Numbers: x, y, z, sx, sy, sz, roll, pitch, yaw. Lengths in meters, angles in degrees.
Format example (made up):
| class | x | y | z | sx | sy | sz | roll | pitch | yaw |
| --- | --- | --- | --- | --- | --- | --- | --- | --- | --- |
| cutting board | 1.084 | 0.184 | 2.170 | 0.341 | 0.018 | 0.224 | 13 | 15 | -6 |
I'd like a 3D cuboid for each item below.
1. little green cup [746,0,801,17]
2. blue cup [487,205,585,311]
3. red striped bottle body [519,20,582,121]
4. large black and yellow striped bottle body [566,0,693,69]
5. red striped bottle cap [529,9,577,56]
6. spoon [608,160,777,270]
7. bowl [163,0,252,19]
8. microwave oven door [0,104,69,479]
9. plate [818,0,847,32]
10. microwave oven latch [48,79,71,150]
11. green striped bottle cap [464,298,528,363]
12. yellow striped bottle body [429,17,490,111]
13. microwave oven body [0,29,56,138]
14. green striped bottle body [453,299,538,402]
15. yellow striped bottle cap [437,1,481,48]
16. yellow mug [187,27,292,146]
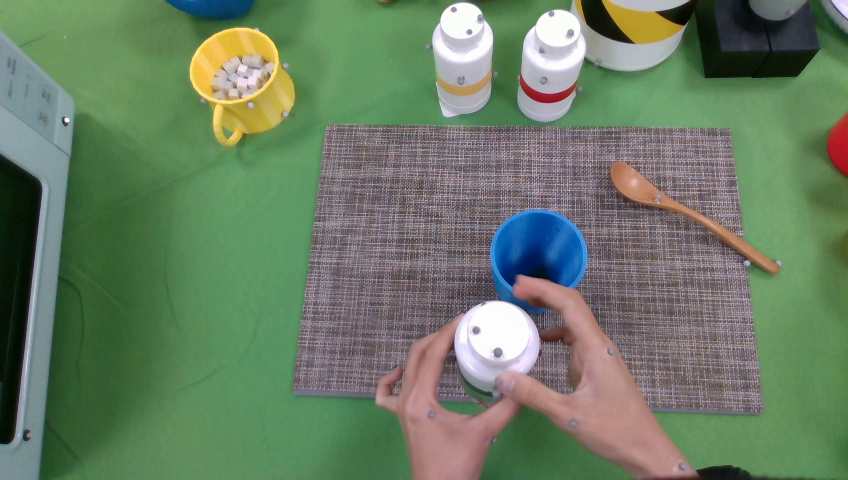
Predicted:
| class | x | y | z | sx | sy | sz | roll | pitch | yaw |
| --- | --- | --- | --- | --- | --- | --- | --- | --- | --- |
| little green cup | 0.374 | -0.269 | 0.640 | 0.061 | 0.039 | 0.061 | -1 | 69 | 3 |
| blue cup | 0.100 | 0.026 | 0.572 | 0.092 | 0.101 | 0.092 | -1 | 69 | 3 |
| red striped bottle body | 0.132 | -0.184 | 0.638 | 0.063 | 0.120 | 0.062 | -3 | 68 | 7 |
| large black and yellow striped bottle body | 0.224 | -0.284 | 0.633 | 0.131 | 0.185 | 0.130 | -1 | 70 | 4 |
| red striped bottle cap | 0.126 | -0.203 | 0.589 | 0.044 | 0.018 | 0.044 | 0 | 69 | 0 |
| spoon | 0.272 | -0.025 | 0.620 | 0.193 | 0.022 | 0.041 | 32 | 51 | 14 |
| bowl | -0.258 | -0.327 | 0.740 | 0.151 | 0.077 | 0.150 | -1 | 71 | 3 |
| microwave oven door | -0.408 | 0.029 | 0.520 | 0.039 | 0.245 | 0.353 | -8 | 70 | 2 |
| plate | 0.545 | -0.297 | 0.691 | 0.209 | 0.038 | 0.207 | -1 | 71 | 4 |
| microwave oven latch | -0.423 | -0.141 | 0.688 | 0.030 | 0.030 | 0.078 | -6 | 71 | 2 |
| green striped bottle cap | 0.051 | 0.063 | 0.425 | 0.044 | 0.020 | 0.044 | 0 | 67 | 1 |
| yellow striped bottle body | 0.039 | -0.197 | 0.649 | 0.063 | 0.121 | 0.062 | -2 | 70 | 5 |
| microwave oven body | -0.557 | 0.011 | 0.543 | 0.326 | 0.262 | 0.438 | -8 | 71 | 1 |
| green striped bottle body | 0.055 | 0.086 | 0.472 | 0.063 | 0.120 | 0.062 | -2 | 66 | 5 |
| yellow striped bottle cap | 0.035 | -0.214 | 0.601 | 0.044 | 0.019 | 0.044 | -1 | 72 | 3 |
| yellow mug | -0.212 | -0.168 | 0.687 | 0.100 | 0.064 | 0.130 | 11 | 72 | 7 |
